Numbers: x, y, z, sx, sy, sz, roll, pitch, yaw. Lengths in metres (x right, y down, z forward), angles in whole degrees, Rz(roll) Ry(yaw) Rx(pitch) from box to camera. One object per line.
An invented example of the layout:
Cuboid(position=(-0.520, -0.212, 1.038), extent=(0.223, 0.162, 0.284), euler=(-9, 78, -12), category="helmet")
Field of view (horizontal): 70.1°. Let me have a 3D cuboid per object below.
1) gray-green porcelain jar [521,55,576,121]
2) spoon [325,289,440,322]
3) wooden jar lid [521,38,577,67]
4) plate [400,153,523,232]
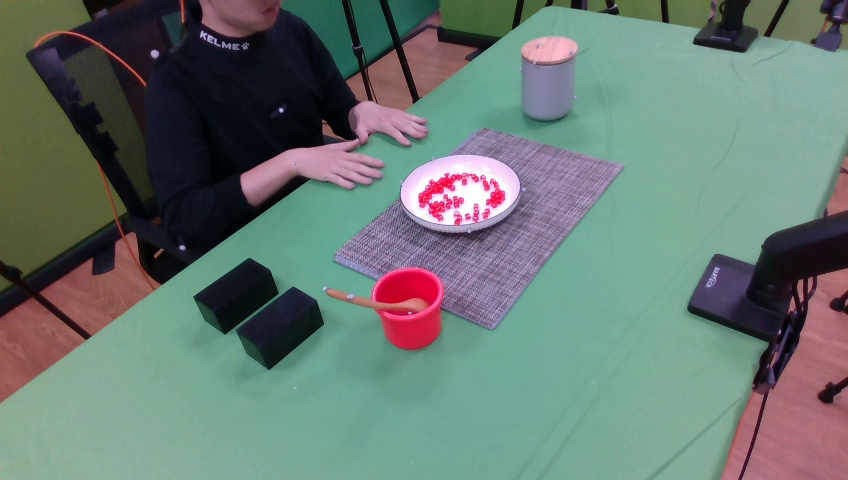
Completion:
Cuboid(position=(0.249, -0.313, 1.219), extent=(0.106, 0.127, 0.105), euler=(-4, 41, 4), category="gray-green porcelain jar")
Cuboid(position=(-0.047, 0.084, 0.776), extent=(0.195, 0.021, 0.041), euler=(13, 26, -43), category="spoon")
Cuboid(position=(0.243, -0.362, 1.177), extent=(0.108, 0.021, 0.108), euler=(-5, 43, 5), category="wooden jar lid")
Cuboid(position=(0.065, -0.078, 1.034), extent=(0.207, 0.039, 0.206), euler=(-4, 41, 4), category="plate")
